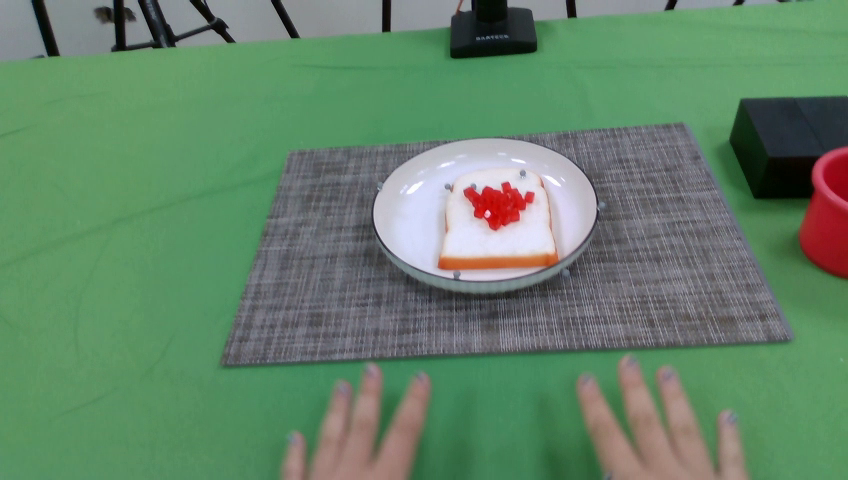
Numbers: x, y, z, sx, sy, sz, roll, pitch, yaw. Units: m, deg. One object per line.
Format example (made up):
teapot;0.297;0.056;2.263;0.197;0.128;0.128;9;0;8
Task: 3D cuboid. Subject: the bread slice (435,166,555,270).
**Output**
bread slice;0.065;-0.024;0.570;0.105;0.019;0.130;-1;45;6

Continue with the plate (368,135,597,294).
plate;0.052;-0.025;0.569;0.209;0.038;0.207;-4;44;4

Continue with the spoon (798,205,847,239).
spoon;0.390;-0.035;0.461;0.022;0.193;0.041;47;54;-11
